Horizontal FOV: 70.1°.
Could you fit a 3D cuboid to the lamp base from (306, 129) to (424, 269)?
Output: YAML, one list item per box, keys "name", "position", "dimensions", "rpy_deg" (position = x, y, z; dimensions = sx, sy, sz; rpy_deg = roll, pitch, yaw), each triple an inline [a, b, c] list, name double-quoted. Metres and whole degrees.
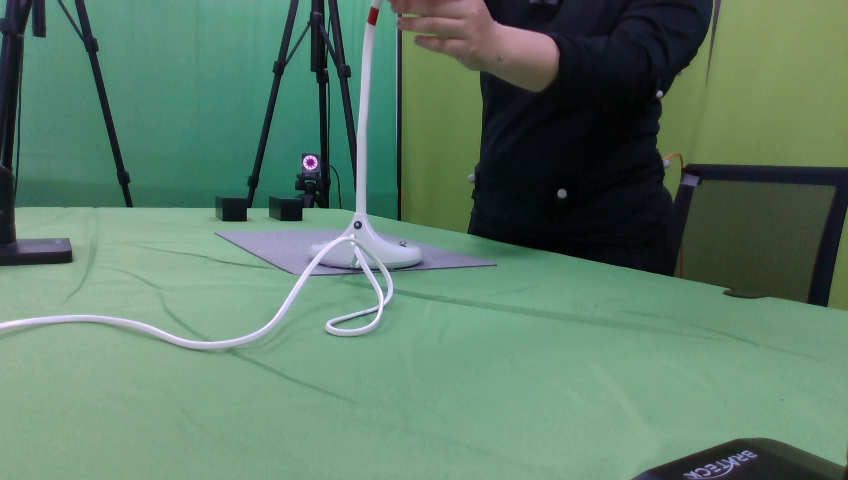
- name: "lamp base"
  position: [-0.077, -0.057, 0.811]
  dimensions: [0.161, 0.180, 0.179]
  rpy_deg: [2, 10, -4]

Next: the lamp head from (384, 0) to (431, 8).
- name: "lamp head"
  position: [-0.021, -0.323, 0.671]
  dimensions: [0.112, 0.123, 0.112]
  rpy_deg: [5, 4, 0]
